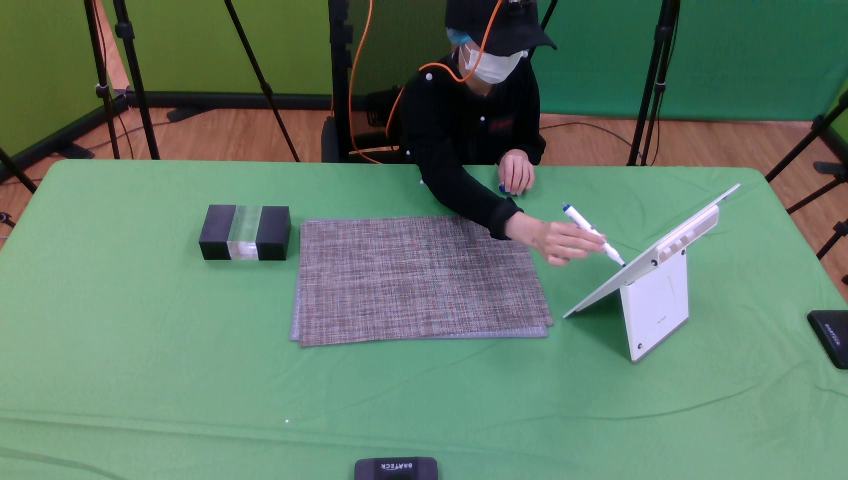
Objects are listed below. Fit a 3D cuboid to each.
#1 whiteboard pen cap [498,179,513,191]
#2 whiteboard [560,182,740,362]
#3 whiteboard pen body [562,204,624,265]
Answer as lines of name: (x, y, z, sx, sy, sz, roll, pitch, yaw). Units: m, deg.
whiteboard pen cap: (0.177, -0.120, 1.317, 0.033, 0.018, 0.018, -32, 56, -21)
whiteboard: (0.406, 0.075, 1.001, 0.217, 0.306, 0.143, -28, 73, -28)
whiteboard pen body: (0.278, -0.006, 0.988, 0.140, 0.017, 0.017, 46, 55, 4)
